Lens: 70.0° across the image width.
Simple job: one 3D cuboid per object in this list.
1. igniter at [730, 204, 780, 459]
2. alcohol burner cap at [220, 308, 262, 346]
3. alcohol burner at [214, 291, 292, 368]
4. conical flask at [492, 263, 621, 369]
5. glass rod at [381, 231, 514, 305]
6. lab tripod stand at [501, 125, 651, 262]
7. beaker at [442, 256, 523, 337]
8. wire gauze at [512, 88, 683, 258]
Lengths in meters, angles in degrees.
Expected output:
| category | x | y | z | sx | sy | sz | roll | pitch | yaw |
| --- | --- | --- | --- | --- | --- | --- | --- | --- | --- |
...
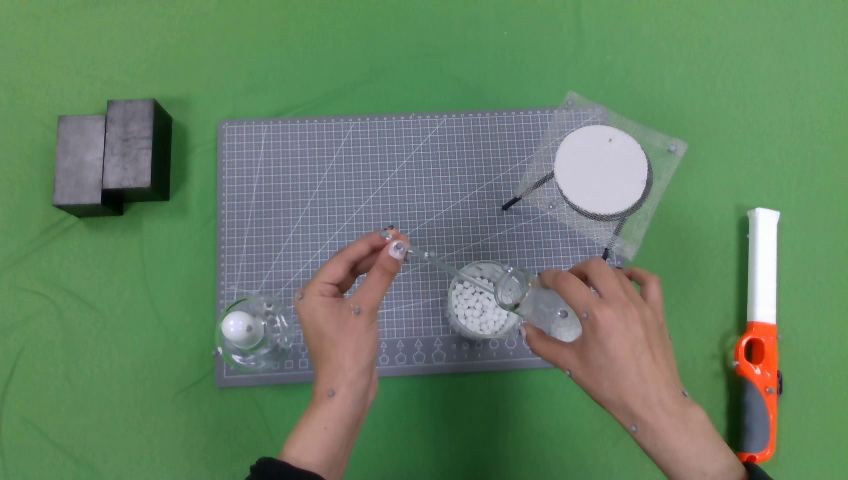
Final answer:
| category | x | y | z | sx | sy | sz | roll | pitch | yaw |
| --- | --- | --- | --- | --- | --- | --- | --- | --- | --- |
| igniter | 0.361 | 0.096 | 0.659 | 0.057 | 0.025 | 0.275 | 10 | 79 | -11 |
| alcohol burner cap | -0.171 | 0.078 | 0.560 | 0.034 | 0.048 | 0.033 | 1 | 72 | -3 |
| alcohol burner | -0.172 | 0.087 | 0.595 | 0.078 | 0.119 | 0.077 | 0 | 80 | 0 |
| conical flask | 0.110 | 0.060 | 0.521 | 0.123 | 0.075 | 0.075 | 31 | 75 | -38 |
| glass rod | 0.029 | 0.030 | 0.536 | 0.008 | 0.202 | 0.008 | -17 | 60 | 33 |
| lab tripod stand | 0.161 | -0.050 | 0.624 | 0.148 | 0.132 | 0.148 | 0 | 80 | 0 |
| beaker | 0.057 | 0.064 | 0.615 | 0.074 | 0.100 | 0.083 | -38 | 82 | -8 |
| wire gauze | 0.160 | -0.066 | 0.559 | 0.125 | 0.011 | 0.121 | 29 | 81 | 4 |
